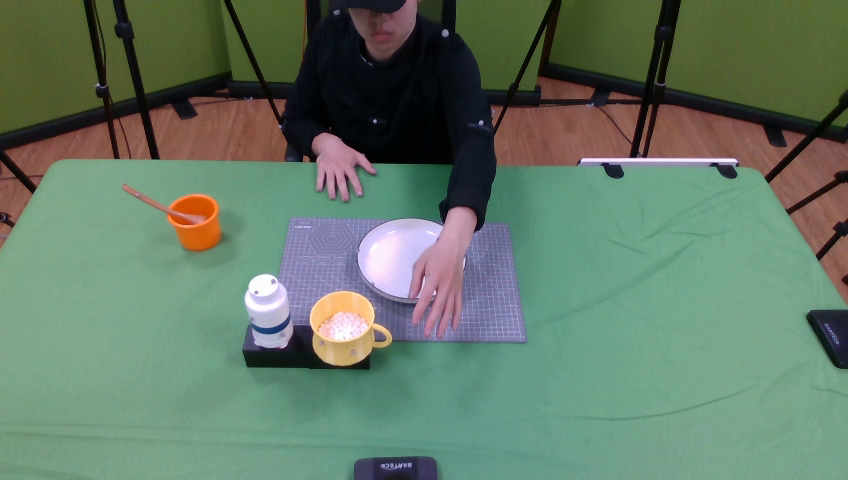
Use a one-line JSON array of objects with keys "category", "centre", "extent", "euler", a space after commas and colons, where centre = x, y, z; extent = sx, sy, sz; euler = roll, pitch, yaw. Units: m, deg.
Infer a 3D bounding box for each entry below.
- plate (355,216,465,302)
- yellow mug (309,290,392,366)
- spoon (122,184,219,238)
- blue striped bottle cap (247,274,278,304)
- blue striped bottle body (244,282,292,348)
[{"category": "plate", "centre": [-0.026, 0.039, 1.144], "extent": [0.208, 0.039, 0.206], "euler": [2, 46, -2]}, {"category": "yellow mug", "centre": [-0.114, 0.141, 0.954], "extent": [0.131, 0.064, 0.099], "euler": [12, 47, 7]}, {"category": "spoon", "centre": [-0.463, -0.052, 1.117], "extent": [0.195, 0.021, 0.041], "euler": [28, 37, -35]}, {"category": "blue striped bottle cap", "centre": [-0.239, 0.072, 0.900], "extent": [0.044, 0.021, 0.044], "euler": [4, 46, -4]}, {"category": "blue striped bottle body", "centre": [-0.241, 0.108, 0.937], "extent": [0.063, 0.121, 0.062], "euler": [2, 46, -2]}]
